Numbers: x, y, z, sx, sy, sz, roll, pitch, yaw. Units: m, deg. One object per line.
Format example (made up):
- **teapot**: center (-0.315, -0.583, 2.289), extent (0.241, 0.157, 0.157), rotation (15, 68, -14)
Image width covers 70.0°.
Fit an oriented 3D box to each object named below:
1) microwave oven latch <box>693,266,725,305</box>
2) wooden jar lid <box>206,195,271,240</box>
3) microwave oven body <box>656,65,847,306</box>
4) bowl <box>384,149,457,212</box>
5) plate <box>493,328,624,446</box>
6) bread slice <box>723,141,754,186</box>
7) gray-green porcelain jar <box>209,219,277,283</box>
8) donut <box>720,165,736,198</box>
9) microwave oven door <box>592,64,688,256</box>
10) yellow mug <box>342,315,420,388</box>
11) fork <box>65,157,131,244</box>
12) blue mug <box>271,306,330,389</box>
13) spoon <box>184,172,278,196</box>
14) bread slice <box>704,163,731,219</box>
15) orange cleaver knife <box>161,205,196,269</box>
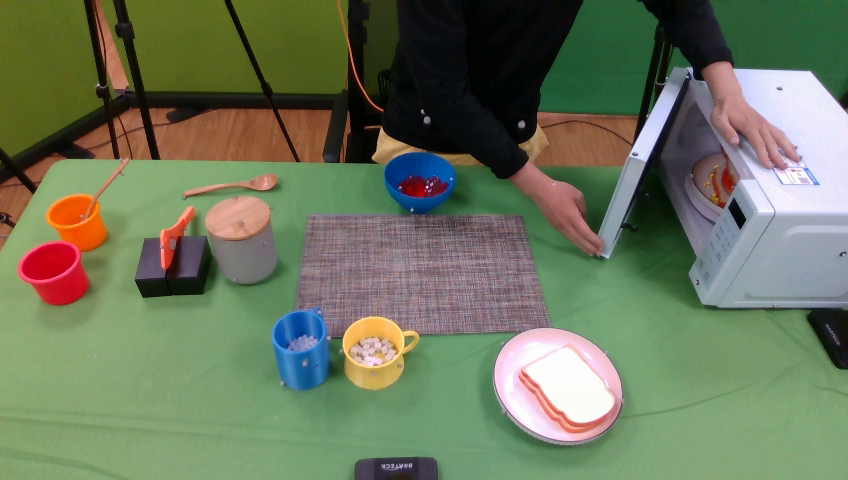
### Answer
- **microwave oven latch**: center (0.523, 0.082, 1.115), extent (0.030, 0.029, 0.078), rotation (3, 46, 0)
- **wooden jar lid**: center (-0.319, -0.036, 1.046), extent (0.108, 0.021, 0.107), rotation (1, 44, 0)
- **microwave oven body**: center (0.669, -0.111, 1.176), extent (0.326, 0.261, 0.439), rotation (0, 46, -3)
- **bowl**: center (-0.009, -0.112, 1.262), extent (0.151, 0.077, 0.150), rotation (2, 46, -2)
- **plate**: center (0.213, 0.236, 0.974), extent (0.208, 0.039, 0.206), rotation (2, 46, -2)
- **bread slice**: center (0.659, -0.146, 1.200), extent (0.107, 0.018, 0.133), rotation (1, 54, 8)
- **gray-green porcelain jar**: center (-0.323, 0.007, 1.092), extent (0.106, 0.127, 0.105), rotation (2, 46, -2)
- **donut**: center (0.646, -0.116, 1.215), extent (0.099, 0.048, 0.098), rotation (-2, 58, 3)
- **microwave oven door**: center (0.435, -0.165, 1.205), extent (0.039, 0.245, 0.355), rotation (24, 50, 17)
- **yellow mug**: center (-0.068, 0.177, 0.990), extent (0.131, 0.064, 0.099), rotation (-16, 50, -19)
- **fork**: center (-0.609, -0.074, 1.133), extent (0.207, 0.019, 0.028), rotation (-52, 51, 10)
- **blue mug**: center (-0.188, 0.163, 0.969), extent (0.082, 0.106, 0.116), rotation (15, 47, 10)
- **spoon**: center (-0.406, -0.116, 1.275), extent (0.194, 0.022, 0.041), rotation (-8, 65, -12)
- **bread slice**: center (0.650, -0.100, 1.270), extent (0.105, 0.019, 0.131), rotation (13, 76, 4)
- **orange cleaver knife**: center (-0.454, -0.010, 1.129), extent (0.012, 0.077, 0.210), rotation (-2, 20, -5)
